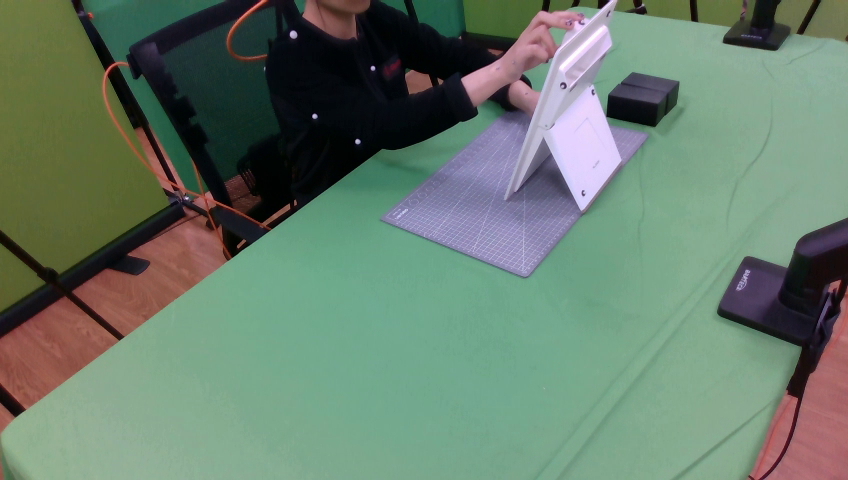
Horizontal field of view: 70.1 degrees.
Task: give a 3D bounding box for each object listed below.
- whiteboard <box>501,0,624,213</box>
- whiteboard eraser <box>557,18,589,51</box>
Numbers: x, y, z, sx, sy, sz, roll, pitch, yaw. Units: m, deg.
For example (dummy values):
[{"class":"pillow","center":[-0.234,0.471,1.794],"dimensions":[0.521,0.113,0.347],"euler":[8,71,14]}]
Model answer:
[{"class":"whiteboard","center":[0.271,-0.189,0.977],"dimensions":[0.143,0.306,0.218],"euler":[34,54,16]},{"class":"whiteboard eraser","center":[0.238,-0.298,0.984],"dimensions":[0.041,0.113,0.056],"euler":[32,46,13]}]
